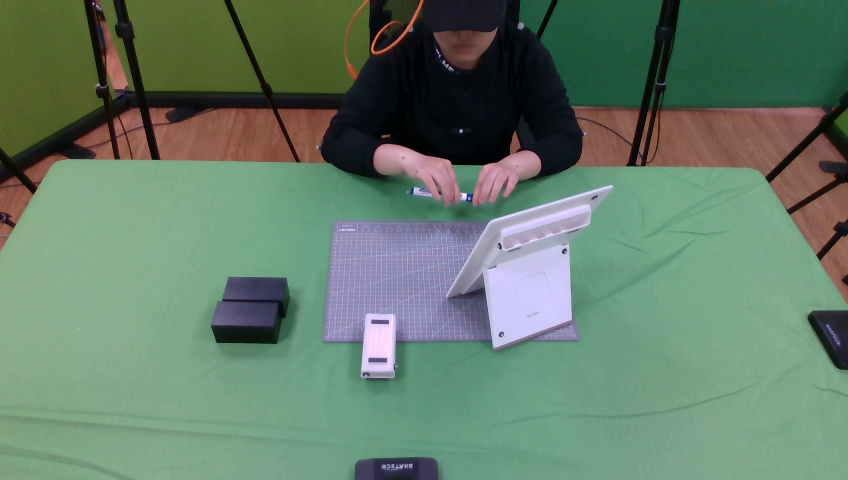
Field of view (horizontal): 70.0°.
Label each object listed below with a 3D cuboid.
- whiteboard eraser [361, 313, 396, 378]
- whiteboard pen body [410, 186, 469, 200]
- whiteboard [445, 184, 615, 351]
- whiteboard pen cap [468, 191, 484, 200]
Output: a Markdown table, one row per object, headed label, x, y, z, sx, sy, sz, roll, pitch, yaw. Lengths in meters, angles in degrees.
| label | x | y | z | sx | sy | sz | roll | pitch | yaw |
| --- | --- | --- | --- | --- | --- | --- | --- | --- | --- |
| whiteboard eraser | -0.075 | 0.176 | 1.006 | 0.055 | 0.042 | 0.112 | 3 | 50 | -4 |
| whiteboard pen body | 0.042 | -0.093 | 1.214 | 0.141 | 0.017 | 0.017 | 7 | 46 | -4 |
| whiteboard | 0.187 | 0.065 | 0.989 | 0.217 | 0.306 | 0.143 | -15 | 68 | -18 |
| whiteboard pen cap | 0.105 | -0.090 | 1.217 | 0.033 | 0.018 | 0.018 | -15 | 46 | -42 |
